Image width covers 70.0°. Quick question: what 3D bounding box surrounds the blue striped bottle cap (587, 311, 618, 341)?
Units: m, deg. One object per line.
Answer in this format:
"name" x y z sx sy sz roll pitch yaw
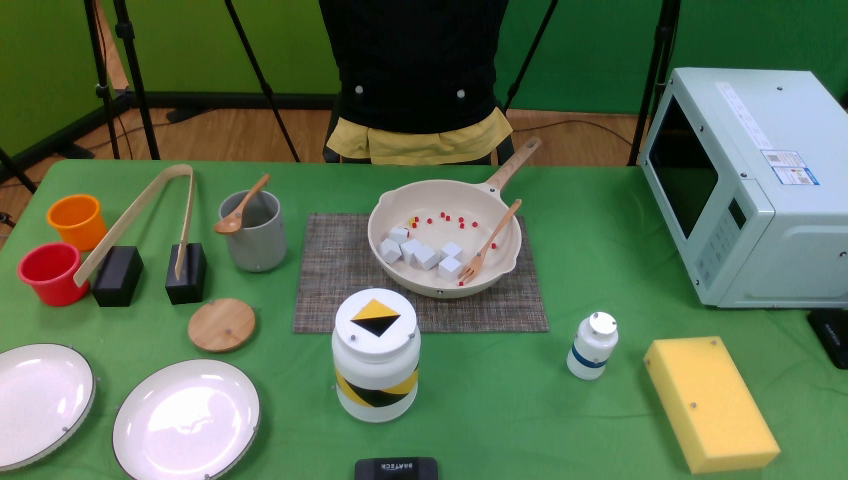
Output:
"blue striped bottle cap" 0.279 0.134 0.946 0.044 0.021 0.044 2 45 -2

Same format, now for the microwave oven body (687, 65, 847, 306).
"microwave oven body" 0.669 -0.111 1.176 0.326 0.261 0.439 0 46 -3

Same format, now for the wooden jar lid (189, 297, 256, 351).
"wooden jar lid" -0.342 0.145 1.033 0.108 0.021 0.107 2 45 -2

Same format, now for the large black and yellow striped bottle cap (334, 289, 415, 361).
"large black and yellow striped bottle cap" -0.069 0.117 0.850 0.115 0.019 0.114 2 45 -2

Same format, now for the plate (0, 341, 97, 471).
"plate" -0.599 0.247 0.904 0.209 0.038 0.208 2 47 -2

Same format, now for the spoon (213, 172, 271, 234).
"spoon" -0.312 -0.069 1.069 0.041 0.022 0.193 10 43 11

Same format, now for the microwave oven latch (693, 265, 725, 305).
"microwave oven latch" 0.523 0.081 1.116 0.030 0.029 0.078 2 46 -1

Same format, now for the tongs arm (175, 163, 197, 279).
"tongs arm" -0.462 -0.049 1.149 0.051 0.026 0.382 -8 36 -7

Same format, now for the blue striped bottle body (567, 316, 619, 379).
"blue striped bottle body" 0.276 0.168 0.984 0.063 0.121 0.062 2 46 -2

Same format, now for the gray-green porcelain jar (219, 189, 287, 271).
"gray-green porcelain jar" -0.309 -0.014 1.113 0.106 0.127 0.105 2 46 -2

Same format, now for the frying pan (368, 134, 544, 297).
"frying pan" 0.104 -0.069 1.205 0.305 0.103 0.487 32 61 23

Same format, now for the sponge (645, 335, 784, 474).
"sponge" 0.449 0.253 0.956 0.118 0.061 0.205 -4 46 -7

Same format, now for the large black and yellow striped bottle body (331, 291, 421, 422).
"large black and yellow striped bottle body" -0.071 0.175 0.911 0.131 0.185 0.130 2 47 -2

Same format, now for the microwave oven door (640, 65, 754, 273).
"microwave oven door" 0.523 -0.147 1.193 0.039 0.245 0.353 0 47 -3

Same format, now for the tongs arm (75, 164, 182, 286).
"tongs arm" -0.547 -0.043 1.143 0.028 0.028 0.385 -3 34 7

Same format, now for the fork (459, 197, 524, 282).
"fork" 0.132 -0.004 1.158 0.028 0.019 0.207 29 76 29

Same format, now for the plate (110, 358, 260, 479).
"plate" -0.349 0.273 0.899 0.208 0.039 0.206 2 46 -2
